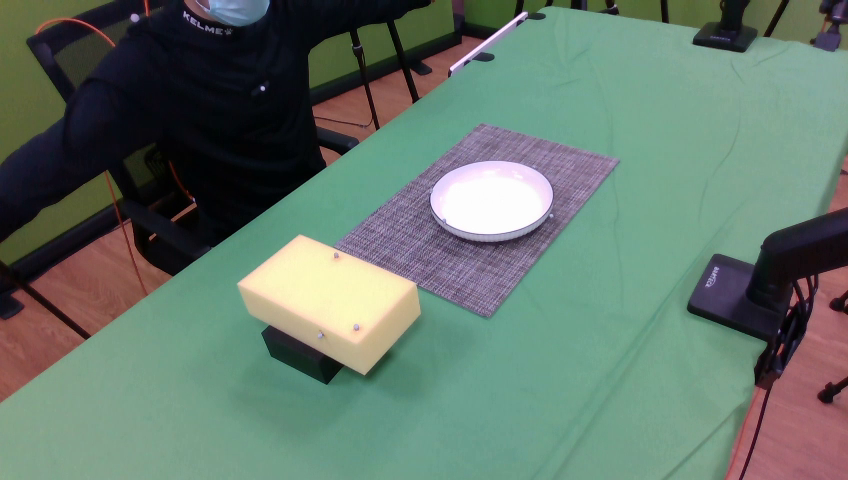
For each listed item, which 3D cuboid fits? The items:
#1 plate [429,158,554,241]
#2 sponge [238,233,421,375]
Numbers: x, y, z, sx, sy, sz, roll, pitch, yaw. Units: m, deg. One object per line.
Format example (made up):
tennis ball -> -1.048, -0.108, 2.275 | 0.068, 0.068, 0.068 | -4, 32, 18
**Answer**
plate -> 0.112, -0.065, 1.011 | 0.207, 0.039, 0.206 | -4, 41, 4
sponge -> -0.124, 0.077, 0.791 | 0.205, 0.061, 0.118 | 21, 48, 28
